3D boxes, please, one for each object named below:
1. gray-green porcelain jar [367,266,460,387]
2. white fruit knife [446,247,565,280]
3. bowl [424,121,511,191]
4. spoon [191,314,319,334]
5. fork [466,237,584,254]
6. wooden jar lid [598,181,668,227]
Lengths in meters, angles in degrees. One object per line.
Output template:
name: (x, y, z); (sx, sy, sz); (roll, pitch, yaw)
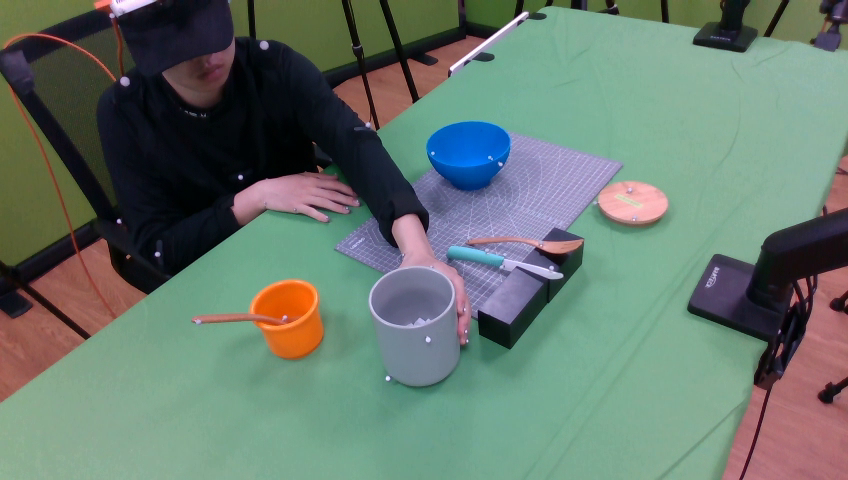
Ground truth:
gray-green porcelain jar: (-0.009, 0.113, 0.757); (0.106, 0.127, 0.105); (-4, 41, 4)
white fruit knife: (0.111, 0.033, 0.867); (0.205, 0.027, 0.016); (11, 42, 40)
bowl: (0.080, -0.140, 1.074); (0.151, 0.077, 0.150); (-4, 40, 4)
spoon: (-0.212, 0.105, 0.781); (0.041, 0.195, 0.021); (29, 97, 37)
fork: (0.142, 0.005, 0.894); (0.205, 0.019, 0.028); (4, 43, 41)
wooden jar lid: (0.340, -0.057, 0.988); (0.108, 0.021, 0.108); (-5, 41, 5)
